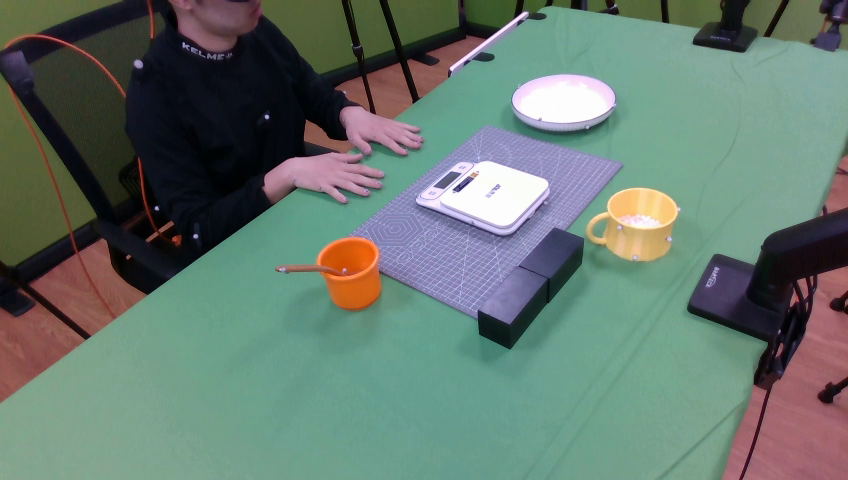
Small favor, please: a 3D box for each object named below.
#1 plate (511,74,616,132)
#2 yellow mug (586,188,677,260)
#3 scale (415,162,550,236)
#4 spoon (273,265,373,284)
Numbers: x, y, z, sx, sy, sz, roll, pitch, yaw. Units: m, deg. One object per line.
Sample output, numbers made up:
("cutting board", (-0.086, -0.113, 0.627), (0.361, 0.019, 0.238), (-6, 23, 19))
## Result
("plate", (0.283, -0.276, 1.238), (0.209, 0.038, 0.208), (-4, 41, 4))
("yellow mug", (0.311, -0.022, 0.917), (0.131, 0.064, 0.099), (-8, 40, 0))
("scale", (0.099, -0.079, 1.035), (0.199, 0.032, 0.149), (23, 48, 31))
("spoon", (-0.136, 0.045, 0.839), (0.041, 0.195, 0.021), (18, 91, 33))
